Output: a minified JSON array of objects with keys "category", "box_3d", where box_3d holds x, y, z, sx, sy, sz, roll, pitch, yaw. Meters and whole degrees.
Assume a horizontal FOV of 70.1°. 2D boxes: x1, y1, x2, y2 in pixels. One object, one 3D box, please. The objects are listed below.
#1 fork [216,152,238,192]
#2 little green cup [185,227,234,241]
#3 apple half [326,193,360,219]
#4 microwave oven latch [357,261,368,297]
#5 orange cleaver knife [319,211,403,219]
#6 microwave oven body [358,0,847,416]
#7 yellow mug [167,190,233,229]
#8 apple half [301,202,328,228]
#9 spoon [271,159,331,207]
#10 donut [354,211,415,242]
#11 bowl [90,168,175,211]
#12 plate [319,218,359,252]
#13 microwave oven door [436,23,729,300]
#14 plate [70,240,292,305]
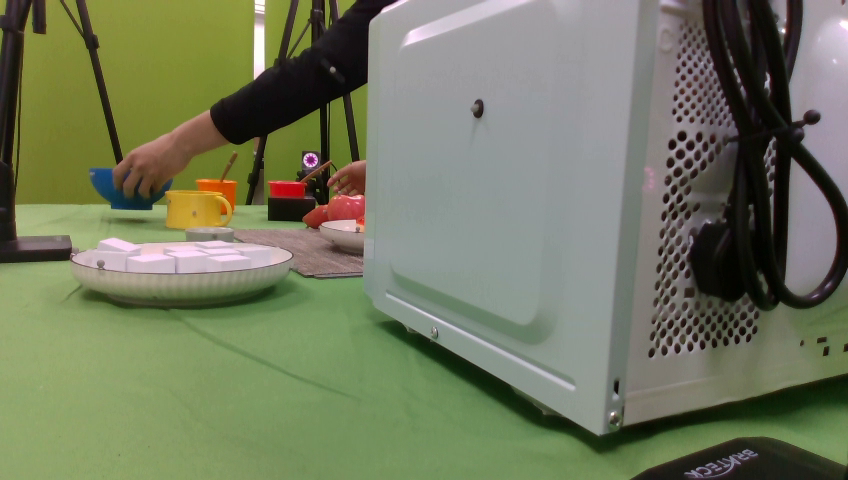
[{"category":"fork","box_3d":[-0.455,-0.132,1.367,0.028,0.018,0.207,-2,-35,-37]},{"category":"little green cup","box_3d":[-0.285,0.005,0.805,0.061,0.038,0.061,2,8,0]},{"category":"apple half","box_3d":[-0.135,-0.047,1.090,0.081,0.074,0.053,5,10,-13]},{"category":"microwave oven latch","box_3d":[-0.019,0.033,0.531,0.079,0.029,0.030,-1,7,-28]},{"category":"orange cleaver knife","box_3d":[-0.142,-0.057,1.394,0.077,0.012,0.212,1,6,45]},{"category":"microwave oven body","box_3d":[0.211,-0.047,0.474,0.444,0.260,0.324,-1,7,-28]},{"category":"yellow mug","box_3d":[-0.415,-0.057,1.132,0.130,0.064,0.100,6,8,17]},{"category":"apple half","box_3d":[-0.195,-0.043,1.173,0.081,0.032,0.081,-22,-16,-6]},{"category":"spoon","box_3d":[-0.308,-0.141,1.513,0.193,0.021,0.041,-42,1,8]},{"category":"donut","box_3d":[-0.062,-0.020,0.956,0.099,0.048,0.099,5,7,0]},{"category":"bowl","box_3d":[-0.569,-0.097,1.183,0.151,0.077,0.151,4,4,0]},{"category":"plate","box_3d":[-0.059,-0.007,0.939,0.209,0.038,0.209,3,7,0]},{"category":"microwave oven door","box_3d":[0.180,-0.072,0.621,0.358,0.243,0.039,-2,9,-29]},{"category":"plate","box_3d":[-0.242,0.032,0.618,0.208,0.039,0.207,2,7,0]}]
